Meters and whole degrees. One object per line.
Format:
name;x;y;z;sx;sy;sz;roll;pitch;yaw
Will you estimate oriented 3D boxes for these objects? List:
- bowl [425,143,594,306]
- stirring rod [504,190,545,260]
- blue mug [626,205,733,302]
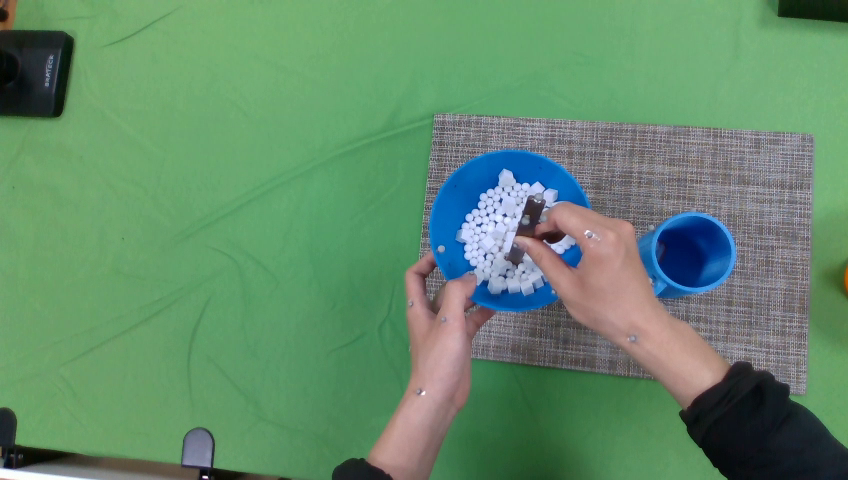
bowl;0.079;-0.009;0.579;0.151;0.077;0.151;0;81;2
stirring rod;0.082;-0.008;0.509;0.014;0.177;0.006;14;75;6
blue mug;0.263;0.024;0.659;0.082;0.106;0.116;43;90;10
